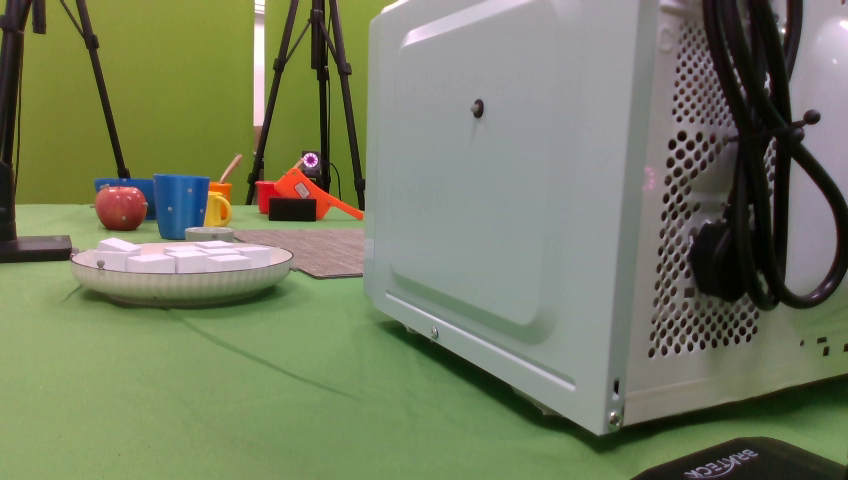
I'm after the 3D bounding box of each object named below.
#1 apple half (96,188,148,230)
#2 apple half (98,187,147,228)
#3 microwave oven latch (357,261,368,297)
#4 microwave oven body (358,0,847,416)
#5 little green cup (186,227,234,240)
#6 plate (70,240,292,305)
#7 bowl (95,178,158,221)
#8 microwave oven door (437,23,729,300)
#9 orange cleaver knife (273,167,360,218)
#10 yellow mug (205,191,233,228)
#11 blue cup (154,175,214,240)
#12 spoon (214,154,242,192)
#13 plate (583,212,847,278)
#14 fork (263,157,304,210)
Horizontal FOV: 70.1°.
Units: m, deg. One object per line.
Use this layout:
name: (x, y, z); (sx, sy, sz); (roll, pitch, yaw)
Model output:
apple half: (-0.517, -0.052, 1.036); (0.081, 0.074, 0.053); (2, 10, -26)
apple half: (-0.534, -0.059, 1.071); (0.082, 0.081, 0.032); (-1, 11, -25)
microwave oven latch: (-0.019, 0.033, 0.530); (0.079, 0.029, 0.030); (-1, 7, -26)
microwave oven body: (0.211, -0.047, 0.474); (0.444, 0.260, 0.324); (-1, 8, -28)
little green cup: (-0.284, 0.005, 0.805); (0.061, 0.038, 0.061); (2, 8, 0)
plate: (-0.242, 0.031, 0.618); (0.208, 0.039, 0.207); (2, 8, 0)
bowl: (-0.576, -0.081, 1.217); (0.151, 0.077, 0.151); (3, 8, 0)
microwave oven door: (0.181, -0.072, 0.621); (0.358, 0.243, 0.039); (-2, 8, -29)
orange cleaver knife: (-0.238, -0.091, 1.381); (0.212, 0.077, 0.012); (31, 0, -19)
yellow mug: (-0.415, -0.057, 1.132); (0.130, 0.064, 0.100); (6, 8, 16)
blue cup: (-0.390, -0.053, 0.978); (0.093, 0.100, 0.092); (3, 6, 0)
spoon: (-0.439, -0.124, 1.318); (0.041, 0.193, 0.022); (5, -36, 16)
plate: (0.239, 0.001, 0.510); (0.209, 0.038, 0.209); (2, 6, 0)
fork: (-0.345, -0.143, 1.505); (0.028, 0.019, 0.207); (-5, 45, 29)
